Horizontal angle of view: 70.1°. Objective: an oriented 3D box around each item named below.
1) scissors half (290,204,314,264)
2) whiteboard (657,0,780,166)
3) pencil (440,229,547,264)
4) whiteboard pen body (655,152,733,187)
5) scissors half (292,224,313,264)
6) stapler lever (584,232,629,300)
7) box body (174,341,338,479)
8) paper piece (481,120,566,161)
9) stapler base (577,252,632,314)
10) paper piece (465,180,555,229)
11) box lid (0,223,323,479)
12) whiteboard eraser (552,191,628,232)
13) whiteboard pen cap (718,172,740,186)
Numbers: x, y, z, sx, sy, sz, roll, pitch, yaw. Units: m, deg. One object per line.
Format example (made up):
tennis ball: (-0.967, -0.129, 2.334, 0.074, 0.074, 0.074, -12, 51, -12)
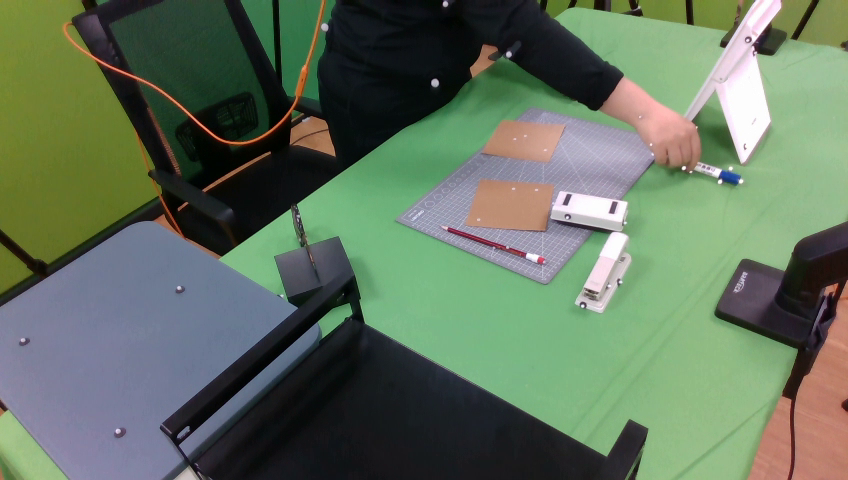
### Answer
scissors half: (-0.190, -0.010, 0.945, 0.013, 0.040, 0.173, -12, 37, -17)
whiteboard: (0.571, -0.272, 1.038, 0.143, 0.306, 0.218, 36, 54, 17)
pencil: (0.105, 0.007, 0.958, 0.192, 0.012, 0.012, 18, 46, 30)
whiteboard pen body: (0.470, -0.122, 1.053, 0.139, 0.017, 0.017, 31, 53, 29)
scissors half: (-0.189, 0.007, 0.955, 0.013, 0.040, 0.174, -17, 21, -14)
stapler lever: (0.261, 0.034, 0.858, 0.026, 0.040, 0.118, 16, 46, 30)
box body: (-0.311, 0.165, 0.720, 0.361, 0.161, 0.255, 23, 48, 32)
paper piece: (0.197, -0.199, 1.188, 0.135, 0.004, 0.135, 11, 43, 21)
stapler base: (0.264, 0.051, 0.875, 0.041, 0.024, 0.131, 16, 47, 30)
paper piece: (0.149, -0.062, 1.034, 0.137, 0.009, 0.136, 5, 38, 16)
box lid: (-0.318, 0.109, 0.671, 0.368, 0.015, 0.264, 24, 49, 31)
whiteboard eraser: (0.266, -0.044, 0.967, 0.112, 0.042, 0.055, 11, 42, 20)
whiteboard pen cap: (0.513, -0.104, 1.019, 0.033, 0.018, 0.018, 26, 50, 29)
